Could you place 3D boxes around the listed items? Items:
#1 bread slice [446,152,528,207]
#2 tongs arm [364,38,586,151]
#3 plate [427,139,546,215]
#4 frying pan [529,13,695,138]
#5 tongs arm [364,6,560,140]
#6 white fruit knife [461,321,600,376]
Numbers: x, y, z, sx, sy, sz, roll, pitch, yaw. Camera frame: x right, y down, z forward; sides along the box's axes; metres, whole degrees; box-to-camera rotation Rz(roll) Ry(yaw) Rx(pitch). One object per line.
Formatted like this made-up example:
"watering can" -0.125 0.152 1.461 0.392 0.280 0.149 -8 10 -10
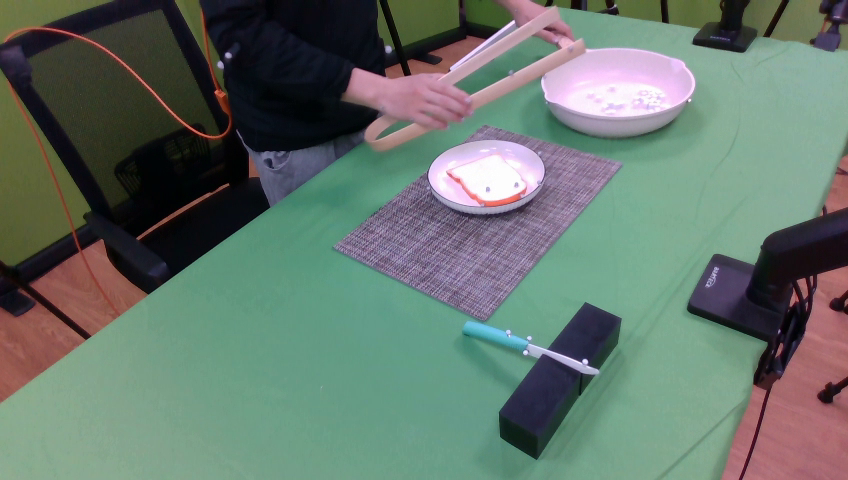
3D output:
"bread slice" 0.117 -0.104 1.057 0.107 0.018 0.133 -24 42 -17
"tongs arm" 0.074 -0.235 0.985 0.384 0.027 0.050 -25 45 14
"plate" 0.109 -0.107 1.058 0.207 0.039 0.206 -4 40 4
"frying pan" 0.348 -0.368 1.282 0.308 0.103 0.484 -16 50 -12
"tongs arm" 0.062 -0.282 1.035 0.387 0.028 0.028 -31 47 6
"white fruit knife" 0.126 0.133 0.752 0.205 0.027 0.016 13 45 42
